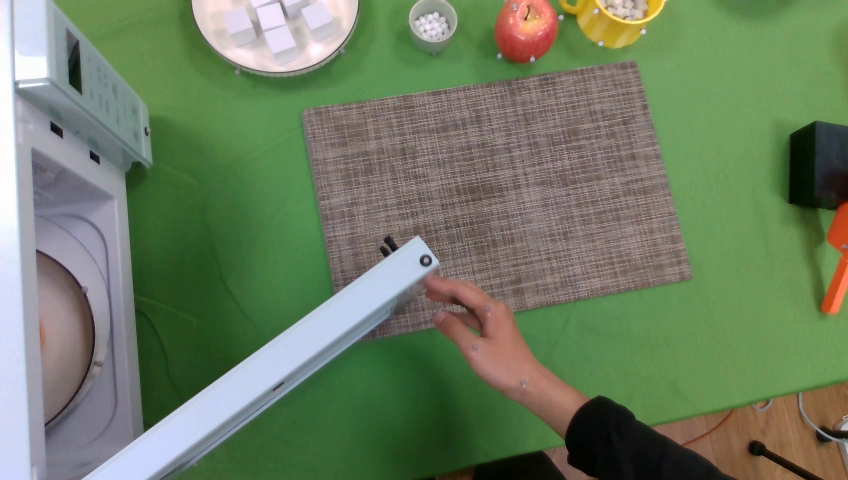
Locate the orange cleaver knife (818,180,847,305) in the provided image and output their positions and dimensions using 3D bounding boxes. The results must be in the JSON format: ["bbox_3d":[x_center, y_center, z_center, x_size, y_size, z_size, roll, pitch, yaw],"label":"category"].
[{"bbox_3d":[0.536,-0.021,0.763,0.012,0.076,0.212,9,113,-1],"label":"orange cleaver knife"}]

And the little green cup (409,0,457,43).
[{"bbox_3d":[0.010,-0.287,0.781,0.061,0.039,0.061,1,81,-5],"label":"little green cup"}]

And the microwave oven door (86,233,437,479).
[{"bbox_3d":[-0.145,0.122,0.583,0.356,0.244,0.039,-37,85,-9],"label":"microwave oven door"}]

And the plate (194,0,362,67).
[{"bbox_3d":[-0.182,-0.313,0.767,0.208,0.039,0.207,1,81,-5],"label":"plate"}]

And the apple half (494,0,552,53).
[{"bbox_3d":[0.118,-0.273,0.771,0.053,0.074,0.081,-37,90,-5],"label":"apple half"}]

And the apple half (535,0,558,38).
[{"bbox_3d":[0.149,-0.297,0.777,0.033,0.081,0.081,-37,86,-5],"label":"apple half"}]

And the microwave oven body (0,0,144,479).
[{"bbox_3d":[-0.453,0.032,0.573,0.326,0.260,0.440,-7,83,-7],"label":"microwave oven body"}]

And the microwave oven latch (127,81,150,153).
[{"bbox_3d":[-0.340,-0.144,0.708,0.030,0.029,0.079,-6,83,-6],"label":"microwave oven latch"}]

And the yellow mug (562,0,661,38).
[{"bbox_3d":[0.242,-0.327,0.794,0.131,0.064,0.099,1,81,-5],"label":"yellow mug"}]

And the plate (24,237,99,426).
[{"bbox_3d":[-0.438,0.097,0.617,0.209,0.038,0.208,1,82,-6],"label":"plate"}]

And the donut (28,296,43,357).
[{"bbox_3d":[-0.436,0.091,0.607,0.099,0.048,0.098,1,82,-6],"label":"donut"}]
